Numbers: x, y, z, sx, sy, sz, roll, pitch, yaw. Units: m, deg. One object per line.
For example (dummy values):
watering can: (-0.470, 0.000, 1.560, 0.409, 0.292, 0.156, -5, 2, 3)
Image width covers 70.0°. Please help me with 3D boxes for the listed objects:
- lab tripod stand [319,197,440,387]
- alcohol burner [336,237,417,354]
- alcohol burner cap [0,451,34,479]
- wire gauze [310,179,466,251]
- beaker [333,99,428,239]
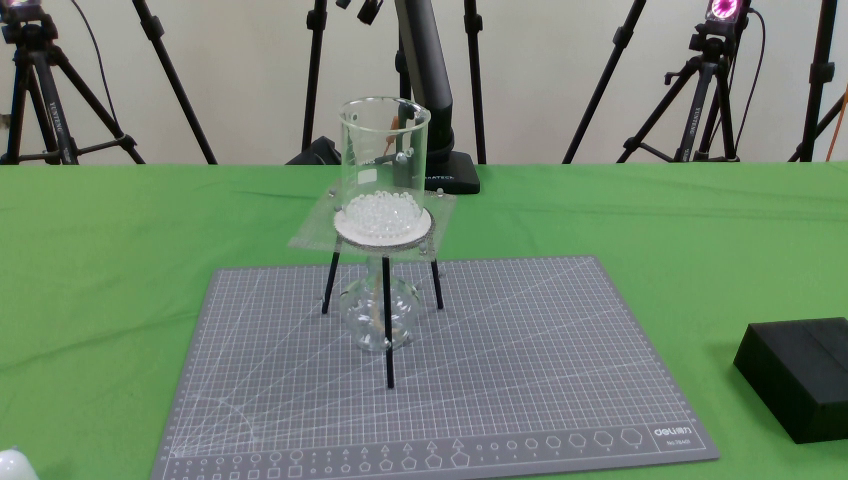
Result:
lab tripod stand: (-0.037, 0.040, 0.566, 0.148, 0.132, 0.147, 4, 33, -2)
alcohol burner: (-0.044, 0.048, 0.571, 0.078, 0.120, 0.077, 4, 32, -2)
alcohol burner cap: (-0.297, 0.171, 0.429, 0.034, 0.048, 0.033, 3, 32, -2)
wire gauze: (-0.033, -0.026, 0.517, 0.125, 0.011, 0.120, 2, 29, -11)
beaker: (-0.034, -0.059, 0.507, 0.084, 0.101, 0.073, -24, 43, -36)
